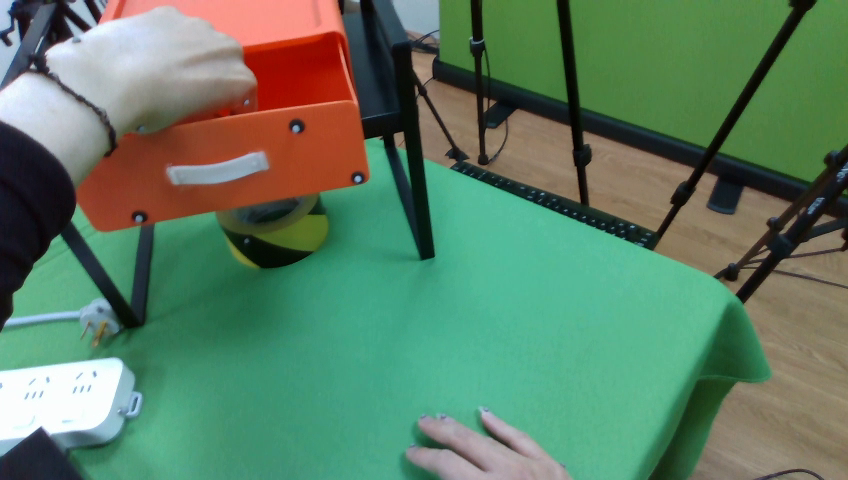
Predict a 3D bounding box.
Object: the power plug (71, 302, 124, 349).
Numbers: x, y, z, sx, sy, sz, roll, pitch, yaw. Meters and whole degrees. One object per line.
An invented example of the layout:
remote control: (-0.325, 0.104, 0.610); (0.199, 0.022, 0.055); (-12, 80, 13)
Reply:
power plug: (-0.325, 0.090, 0.596); (0.072, 0.035, 0.052); (-32, 32, 28)

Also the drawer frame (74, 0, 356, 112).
drawer frame: (-0.175, -0.175, 0.540); (0.202, 0.083, 0.211); (-13, 45, -5)

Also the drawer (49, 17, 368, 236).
drawer: (-0.156, -0.111, 0.477); (0.195, 0.074, 0.209); (-12, 44, -4)

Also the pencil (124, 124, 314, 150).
pencil: (-0.167, -0.082, 0.480); (0.193, 0.012, 0.012); (0, 44, 25)

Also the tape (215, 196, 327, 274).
tape: (-0.165, -0.023, 0.665); (0.117, 0.053, 0.115); (-2, 47, 3)

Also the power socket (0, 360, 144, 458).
power socket: (-0.363, 0.151, 0.527); (0.227, 0.033, 0.071); (-7, 44, 1)
